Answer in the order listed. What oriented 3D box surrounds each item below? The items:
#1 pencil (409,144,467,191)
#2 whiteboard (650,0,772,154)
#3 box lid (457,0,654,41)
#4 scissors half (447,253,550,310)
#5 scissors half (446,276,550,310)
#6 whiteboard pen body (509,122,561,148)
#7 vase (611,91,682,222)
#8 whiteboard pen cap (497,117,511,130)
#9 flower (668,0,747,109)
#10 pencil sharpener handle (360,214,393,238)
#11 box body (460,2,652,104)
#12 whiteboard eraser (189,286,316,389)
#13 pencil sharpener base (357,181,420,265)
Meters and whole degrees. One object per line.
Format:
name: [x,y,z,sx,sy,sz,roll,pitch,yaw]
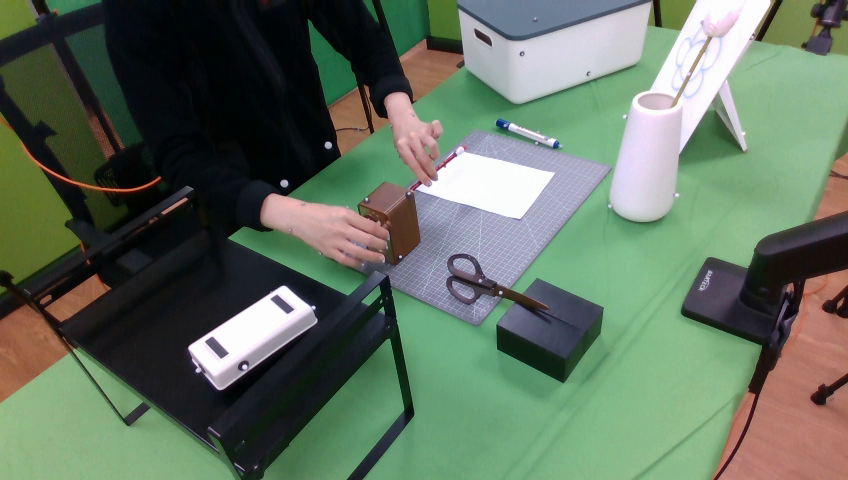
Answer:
pencil: [0.012,-0.109,0.990,0.012,0.012,0.194,24,50,31]
whiteboard: [0.543,-0.298,1.076,0.144,0.305,0.216,12,40,-7]
box lid: [0.285,-0.522,1.323,0.373,0.015,0.261,-22,43,-16]
scissors half: [0.098,0.058,0.821,0.173,0.040,0.013,27,33,37]
scissors half: [0.098,0.077,0.827,0.174,0.040,0.013,6,14,44]
whiteboard pen body: [0.208,-0.212,1.195,0.139,0.017,0.017,30,52,33]
vase: [0.348,-0.125,0.935,0.098,0.201,0.097,-3,40,3]
whiteboard pen cap: [0.165,-0.235,1.226,0.033,0.018,0.018,31,53,31]
flower: [0.354,-0.187,0.879,0.038,0.362,0.044,30,48,14]
pencil sharpener handle: [-0.076,-0.016,0.882,0.067,0.036,0.031,1,36,44]
box body: [0.291,-0.465,1.371,0.365,0.161,0.252,-22,42,-16]
whiteboard eraser: [-0.166,0.096,0.593,0.113,0.042,0.055,-36,47,-29]
pencil sharpener base: [-0.055,-0.024,0.941,0.061,0.107,0.077,22,48,29]
